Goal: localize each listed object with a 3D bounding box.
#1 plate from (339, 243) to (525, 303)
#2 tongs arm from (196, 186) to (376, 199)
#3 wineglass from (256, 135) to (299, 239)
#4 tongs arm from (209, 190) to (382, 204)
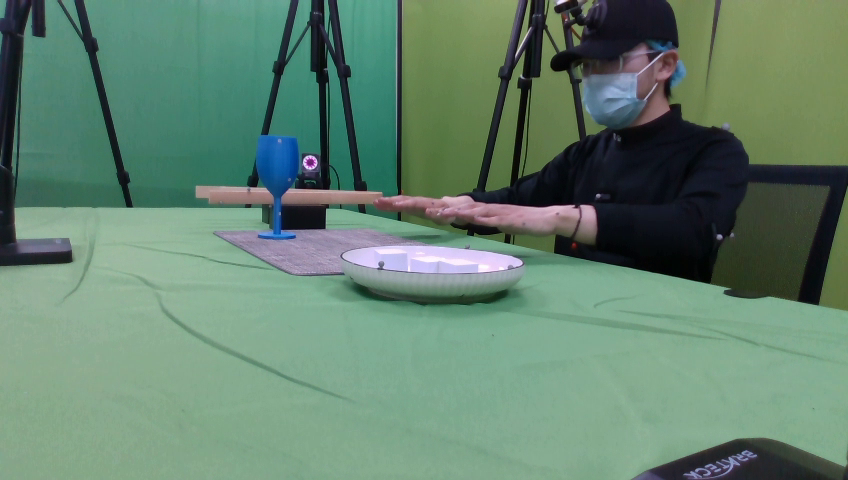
[{"bbox_3d":[0.008,0.035,0.682,0.209,0.038,0.209,3,7,0],"label":"plate"},{"bbox_3d":[-0.288,-0.098,1.312,0.389,0.028,0.028,0,2,-21],"label":"tongs arm"},{"bbox_3d":[-0.252,-0.091,1.035,0.074,0.172,0.073,3,7,0],"label":"wineglass"},{"bbox_3d":[-0.248,-0.088,1.242,0.387,0.026,0.050,-2,7,-34],"label":"tongs arm"}]
